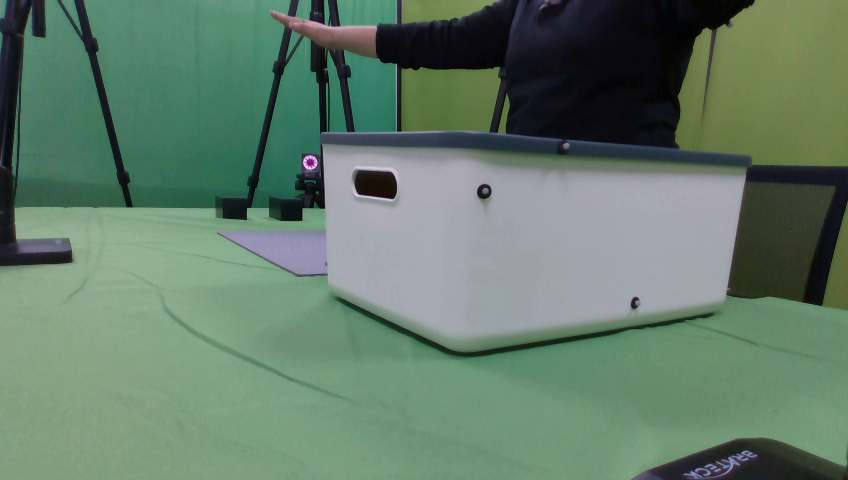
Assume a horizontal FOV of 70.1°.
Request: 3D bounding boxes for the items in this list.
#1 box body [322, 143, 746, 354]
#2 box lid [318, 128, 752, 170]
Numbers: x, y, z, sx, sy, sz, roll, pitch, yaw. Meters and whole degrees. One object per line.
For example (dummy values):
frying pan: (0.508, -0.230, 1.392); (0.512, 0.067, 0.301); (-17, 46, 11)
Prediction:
box body: (0.106, -0.011, 0.603); (0.366, 0.160, 0.253); (-2, 8, -34)
box lid: (0.107, -0.085, 0.594); (0.373, 0.015, 0.262); (-1, 8, -34)
